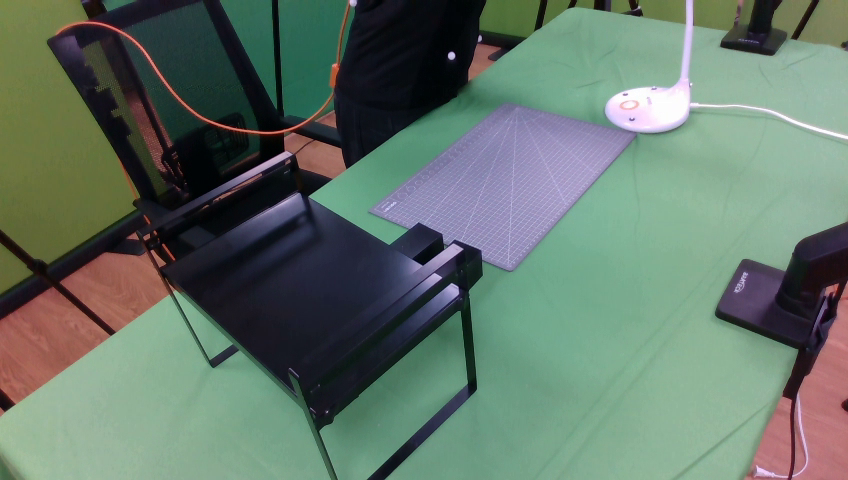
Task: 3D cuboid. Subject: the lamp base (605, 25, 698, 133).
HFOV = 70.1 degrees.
[{"bbox_3d":[0.448,-0.321,1.161,0.179,0.181,0.159,-7,41,-2],"label":"lamp base"}]
